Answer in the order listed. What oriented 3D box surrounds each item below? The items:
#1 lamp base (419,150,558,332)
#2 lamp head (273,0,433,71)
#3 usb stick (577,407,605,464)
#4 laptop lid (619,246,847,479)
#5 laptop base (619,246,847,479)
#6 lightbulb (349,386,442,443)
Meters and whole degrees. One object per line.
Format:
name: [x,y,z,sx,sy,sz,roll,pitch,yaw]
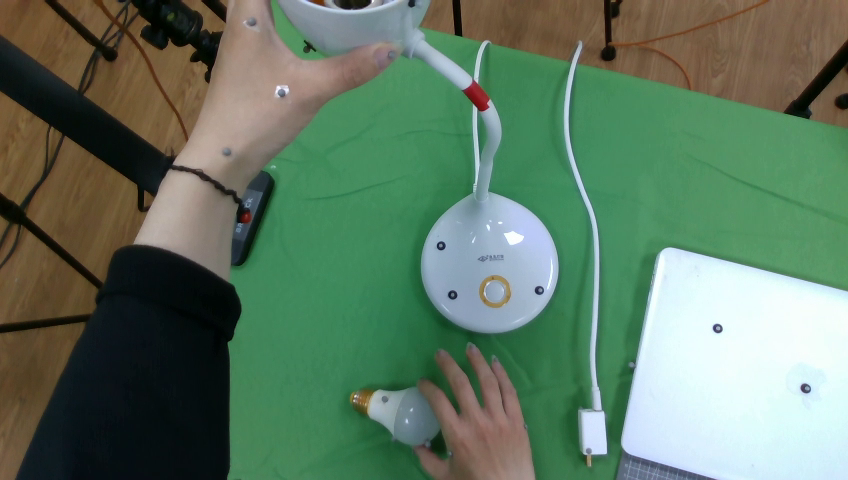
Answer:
lamp base: [0.066,-0.005,0.631,0.161,0.181,0.178,-15,72,-1]
lamp head: [-0.042,-0.162,0.392,0.112,0.123,0.112,0,75,1]
usb stick: [0.179,0.210,0.651,0.027,0.021,0.059,1,86,1]
laptop lid: [0.405,0.157,0.646,0.356,0.013,0.241,16,78,7]
laptop base: [0.406,0.157,0.658,0.354,0.023,0.234,14,79,6]
lightbulb: [-0.033,0.183,0.656,0.107,0.060,0.059,10,76,21]
